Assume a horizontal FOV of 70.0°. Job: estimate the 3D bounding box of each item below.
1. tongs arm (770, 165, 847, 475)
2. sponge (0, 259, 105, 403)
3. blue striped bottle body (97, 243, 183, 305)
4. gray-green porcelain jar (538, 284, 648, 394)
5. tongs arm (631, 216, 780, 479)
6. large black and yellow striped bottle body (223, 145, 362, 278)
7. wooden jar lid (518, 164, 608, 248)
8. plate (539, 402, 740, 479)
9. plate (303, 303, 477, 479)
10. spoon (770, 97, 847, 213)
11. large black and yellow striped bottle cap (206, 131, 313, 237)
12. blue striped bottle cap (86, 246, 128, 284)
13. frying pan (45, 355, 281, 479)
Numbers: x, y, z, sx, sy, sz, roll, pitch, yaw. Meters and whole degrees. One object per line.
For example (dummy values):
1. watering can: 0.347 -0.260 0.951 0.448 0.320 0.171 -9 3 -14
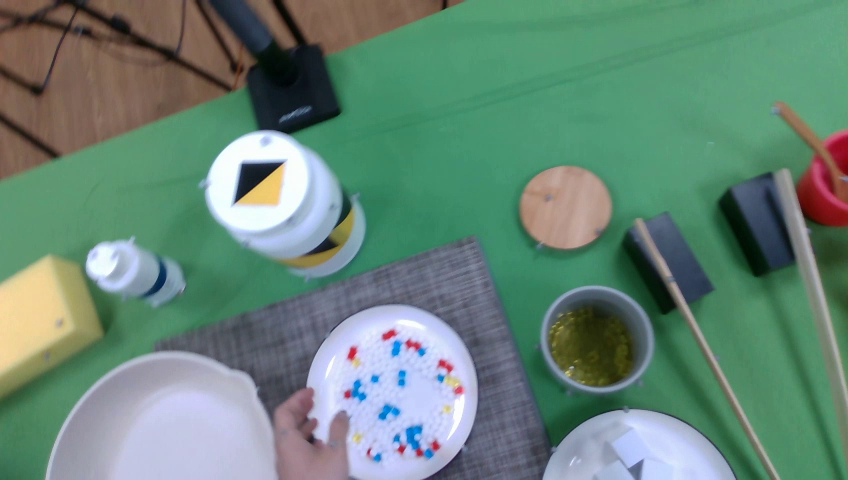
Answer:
1. tongs arm: 0.404 0.111 0.624 0.028 0.028 0.386 -9 84 1
2. sponge: -0.553 0.132 0.816 0.207 0.061 0.117 -32 72 0
3. blue striped bottle body: -0.369 0.043 0.774 0.063 0.121 0.062 -3 74 10
4. gray-green porcelain jar: 0.176 0.110 0.649 0.105 0.127 0.105 -3 74 10
5. tongs arm: 0.324 0.139 0.630 0.051 0.026 0.383 -24 82 2
6. large black and yellow striped bottle body: -0.160 -0.036 0.722 0.130 0.185 0.130 -3 74 10
7. wooden jar lid: 0.170 -0.041 0.747 0.108 0.021 0.108 -2 76 10
8. plate: 0.226 0.278 0.641 0.207 0.039 0.206 -3 74 10
9. plate: -0.039 0.179 0.714 0.209 0.038 0.208 -3 75 11
10. spoon: 0.424 -0.091 0.646 0.195 0.021 0.041 37 86 -27
11. large black and yellow striped bottle cap: -0.175 -0.061 0.643 0.115 0.019 0.114 -2 76 10
12. blue striped bottle cap: -0.379 0.030 0.725 0.044 0.021 0.044 -4 72 13
13. frying pan: -0.226 0.343 0.671 0.483 0.103 0.306 39 86 26
